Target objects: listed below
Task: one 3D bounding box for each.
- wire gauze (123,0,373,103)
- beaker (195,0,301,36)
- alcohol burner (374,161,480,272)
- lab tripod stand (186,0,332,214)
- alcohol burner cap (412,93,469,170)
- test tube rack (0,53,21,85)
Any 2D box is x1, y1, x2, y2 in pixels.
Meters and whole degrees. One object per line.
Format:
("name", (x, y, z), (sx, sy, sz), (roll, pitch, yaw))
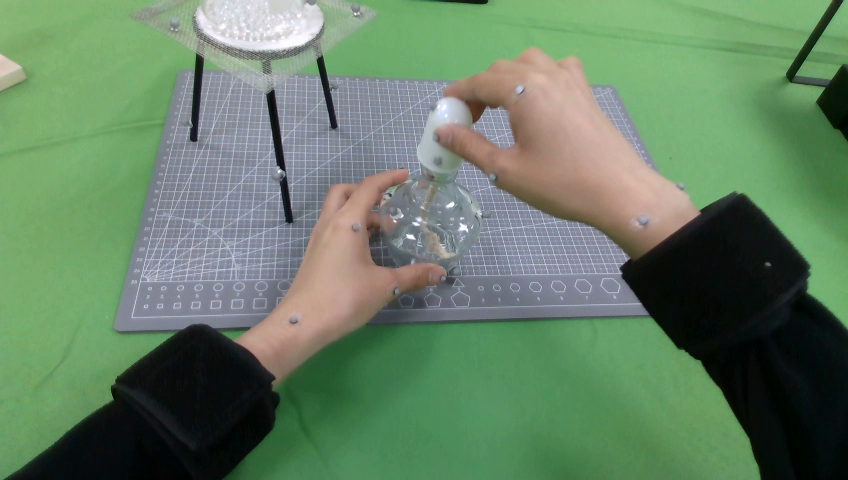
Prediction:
("wire gauze", (-0.117, -0.157, 0.420), (0.124, 0.011, 0.121), (32, 55, 12))
("beaker", (-0.116, -0.189, 0.382), (0.073, 0.101, 0.084), (31, 53, 16))
("alcohol burner", (0.004, -0.032, 0.434), (0.078, 0.120, 0.077), (6, 48, -6))
("lab tripod stand", (-0.123, -0.115, 0.470), (0.149, 0.132, 0.147), (6, 50, -7))
("alcohol burner cap", (0.012, -0.071, 0.386), (0.034, 0.048, 0.033), (6, 53, -8))
("test tube rack", (-0.453, -0.121, 0.456), (0.066, 0.086, 0.241), (30, 52, 15))
